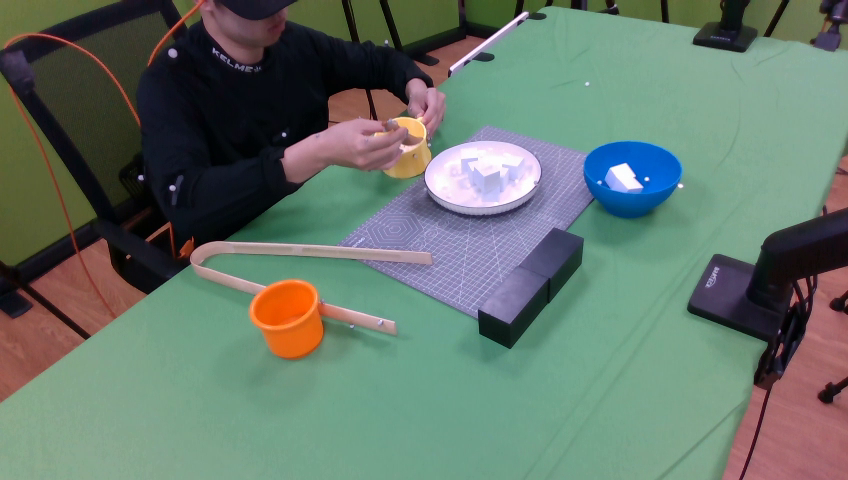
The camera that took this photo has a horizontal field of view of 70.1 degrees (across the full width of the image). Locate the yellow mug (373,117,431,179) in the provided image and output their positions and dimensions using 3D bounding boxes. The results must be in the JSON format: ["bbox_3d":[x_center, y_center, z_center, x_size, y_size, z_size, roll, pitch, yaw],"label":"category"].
[{"bbox_3d":[-0.031,-0.183,1.136,0.099,0.064,0.131,26,60,26],"label":"yellow mug"}]

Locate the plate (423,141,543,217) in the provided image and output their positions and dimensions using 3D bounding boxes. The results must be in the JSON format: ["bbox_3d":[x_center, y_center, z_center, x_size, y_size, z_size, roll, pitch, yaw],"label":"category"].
[{"bbox_3d":[0.103,-0.104,1.059,0.207,0.039,0.206,-4,40,4],"label":"plate"}]

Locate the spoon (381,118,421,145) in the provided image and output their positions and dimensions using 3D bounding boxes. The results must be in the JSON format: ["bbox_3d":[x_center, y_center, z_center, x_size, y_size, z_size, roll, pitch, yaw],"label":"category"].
[{"bbox_3d":[-0.041,-0.177,0.980,0.041,0.021,0.194,-8,-5,12],"label":"spoon"}]

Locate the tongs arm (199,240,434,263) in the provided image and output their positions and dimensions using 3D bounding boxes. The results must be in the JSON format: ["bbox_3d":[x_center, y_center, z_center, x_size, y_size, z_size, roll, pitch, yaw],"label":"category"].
[{"bbox_3d":[-0.175,0.021,0.959,0.386,0.028,0.028,2,46,12],"label":"tongs arm"}]

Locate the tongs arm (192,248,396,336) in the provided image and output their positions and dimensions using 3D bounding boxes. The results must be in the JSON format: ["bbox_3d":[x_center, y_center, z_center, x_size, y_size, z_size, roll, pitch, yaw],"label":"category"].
[{"bbox_3d":[-0.203,0.073,0.902,0.382,0.026,0.051,11,46,22],"label":"tongs arm"}]

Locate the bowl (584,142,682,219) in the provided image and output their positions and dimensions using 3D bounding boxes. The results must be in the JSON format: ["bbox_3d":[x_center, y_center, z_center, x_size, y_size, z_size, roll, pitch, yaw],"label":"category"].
[{"bbox_3d":[0.333,-0.087,0.980,0.151,0.077,0.150,-4,40,3],"label":"bowl"}]
